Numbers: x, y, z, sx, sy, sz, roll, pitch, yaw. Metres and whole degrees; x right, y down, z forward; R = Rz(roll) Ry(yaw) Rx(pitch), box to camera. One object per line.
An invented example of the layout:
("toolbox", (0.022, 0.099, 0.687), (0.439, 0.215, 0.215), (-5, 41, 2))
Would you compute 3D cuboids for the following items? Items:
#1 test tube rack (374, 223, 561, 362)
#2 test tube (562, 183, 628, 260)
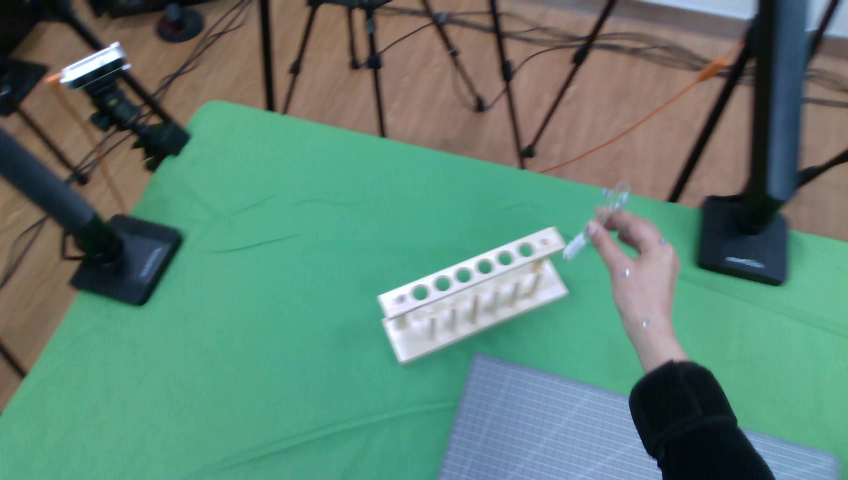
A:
("test tube rack", (0.062, 0.067, 0.783), (0.242, 0.086, 0.066), (-22, 61, -11))
("test tube", (0.176, -0.015, 0.636), (0.017, 0.151, 0.017), (3, 63, -7))
